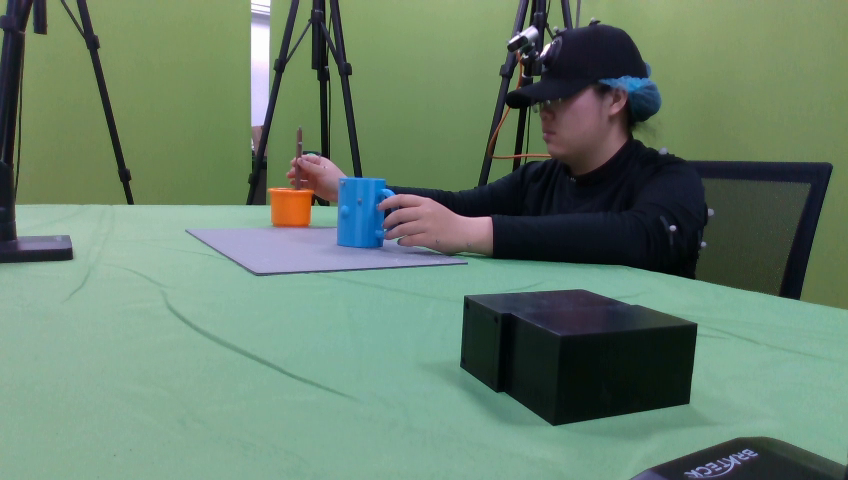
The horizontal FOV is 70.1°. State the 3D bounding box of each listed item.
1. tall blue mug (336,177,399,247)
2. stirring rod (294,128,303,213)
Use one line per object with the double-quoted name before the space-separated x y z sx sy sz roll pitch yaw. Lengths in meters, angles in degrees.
"tall blue mug" -0.086 -0.045 0.970 0.107 0.108 0.078 4 7 9
"stirring rod" -0.252 -0.141 1.212 0.006 0.176 0.014 -3 -11 19
